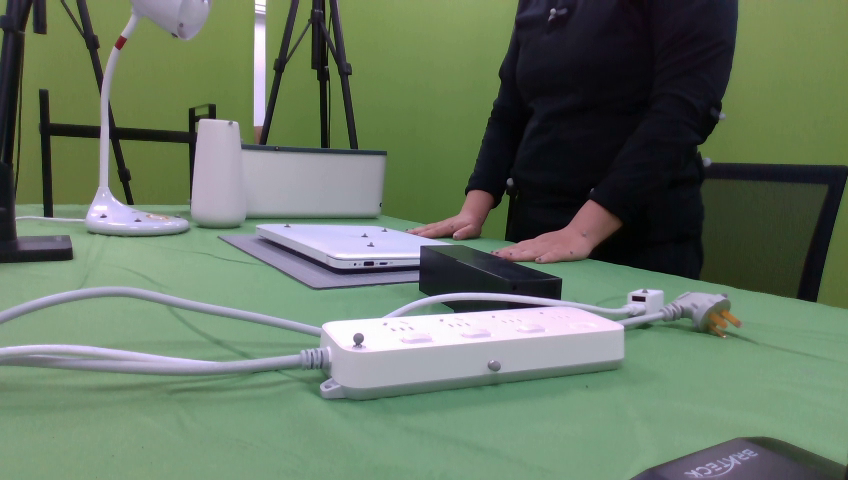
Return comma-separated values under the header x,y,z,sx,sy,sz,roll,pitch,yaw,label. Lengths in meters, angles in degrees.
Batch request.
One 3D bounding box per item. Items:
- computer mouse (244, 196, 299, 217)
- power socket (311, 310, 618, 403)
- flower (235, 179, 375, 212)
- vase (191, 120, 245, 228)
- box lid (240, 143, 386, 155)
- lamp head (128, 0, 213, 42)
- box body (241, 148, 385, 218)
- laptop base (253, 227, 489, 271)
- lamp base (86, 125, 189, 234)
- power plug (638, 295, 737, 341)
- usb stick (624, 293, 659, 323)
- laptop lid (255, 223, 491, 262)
x,y,z,sx,sy,sz,roll,pitch,yaw,label
-0.346,-0.077,1.372,0.118,0.041,0.062,-11,19,-33,computer mouse
0.034,0.074,0.415,0.228,0.032,0.072,-1,8,-24,power socket
-0.264,-0.092,1.417,0.364,0.044,0.038,8,48,-39,flower
-0.389,-0.124,1.142,0.098,0.200,0.098,3,9,0,vase
-0.304,-0.217,1.463,0.373,0.015,0.262,-2,8,-30,box lid
-0.423,-0.394,0.980,0.123,0.112,0.112,20,7,-3,lamp head
-0.306,-0.144,1.474,0.366,0.160,0.253,-1,9,-30,box body
-0.096,0.012,0.911,0.237,0.023,0.352,2,6,-32,laptop base
-0.497,-0.105,1.027,0.179,0.180,0.160,1,7,2,lamp base
0.235,0.077,0.535,0.072,0.035,0.052,-32,40,-7,power plug
0.211,0.064,0.580,0.021,0.027,0.059,-4,-6,35,usb stick
-0.093,0.000,0.911,0.243,0.013,0.355,1,7,-30,laptop lid
